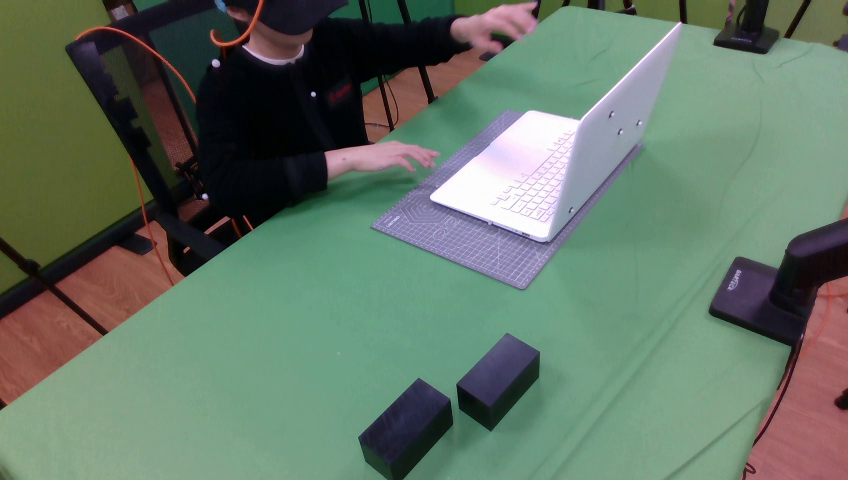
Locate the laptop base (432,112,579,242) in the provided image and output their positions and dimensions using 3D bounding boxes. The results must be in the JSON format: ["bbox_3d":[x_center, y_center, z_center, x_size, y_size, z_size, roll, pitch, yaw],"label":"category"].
[{"bbox_3d":[0.208,-0.129,1.098,0.233,0.023,0.355,20,47,34],"label":"laptop base"}]

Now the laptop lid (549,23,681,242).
[{"bbox_3d":[0.304,-0.172,0.951,0.013,0.242,0.358,30,51,24],"label":"laptop lid"}]
